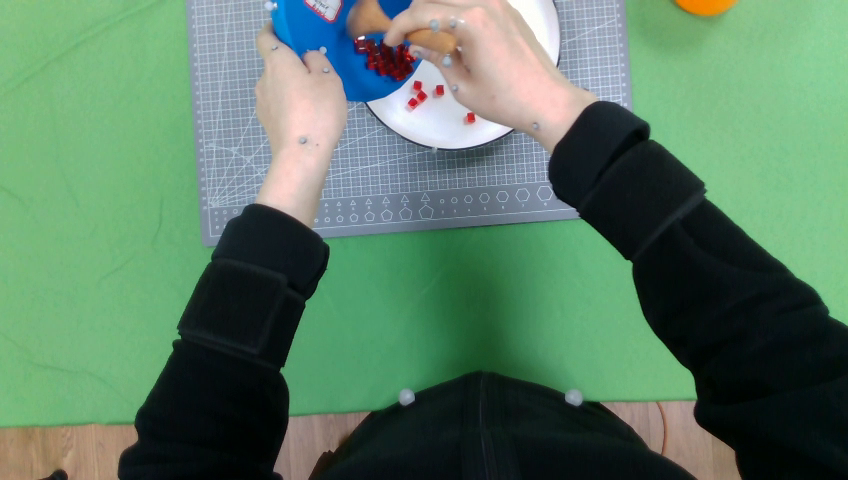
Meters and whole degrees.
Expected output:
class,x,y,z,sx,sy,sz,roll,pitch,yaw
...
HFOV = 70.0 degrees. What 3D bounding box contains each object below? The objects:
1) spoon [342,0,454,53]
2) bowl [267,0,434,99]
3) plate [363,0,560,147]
class,x,y,z,sx,sy,sz,roll,pitch,yaw
spoon,-0.023,-0.158,0.447,0.022,0.191,0.041,21,102,-37
bowl,-0.073,-0.199,0.505,0.076,0.153,0.151,25,91,43
plate,0.028,-0.195,0.602,0.209,0.038,0.209,0,90,4
